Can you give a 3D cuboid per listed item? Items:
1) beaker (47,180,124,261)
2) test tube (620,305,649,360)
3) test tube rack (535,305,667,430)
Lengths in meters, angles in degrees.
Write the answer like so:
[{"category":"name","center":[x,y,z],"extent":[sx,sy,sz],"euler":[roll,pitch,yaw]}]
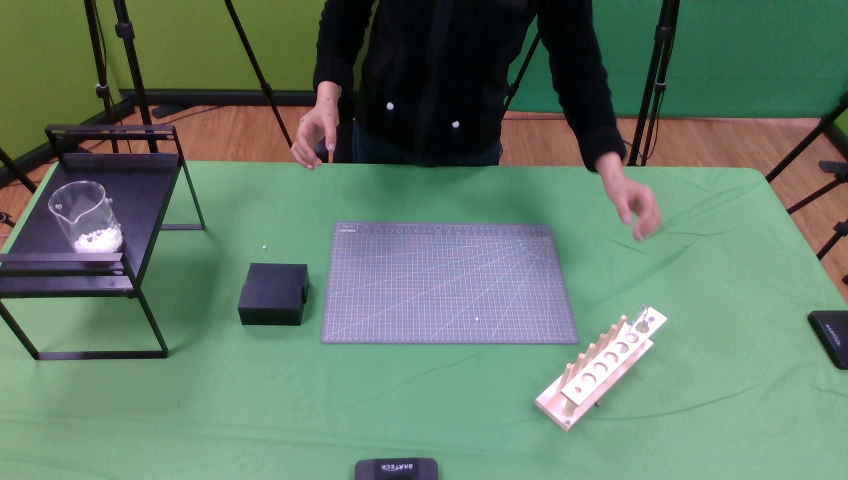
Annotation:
[{"category":"beaker","center":[-0.486,-0.023,0.879],"extent":[0.074,0.101,0.083],"euler":[-7,48,-9]},{"category":"test tube","center":[0.330,0.150,0.960],"extent":[0.017,0.151,0.017],"euler":[-1,50,1]},{"category":"test tube rack","center":[0.290,0.193,0.984],"extent":[0.242,0.085,0.066],"euler":[-32,56,-30]}]
